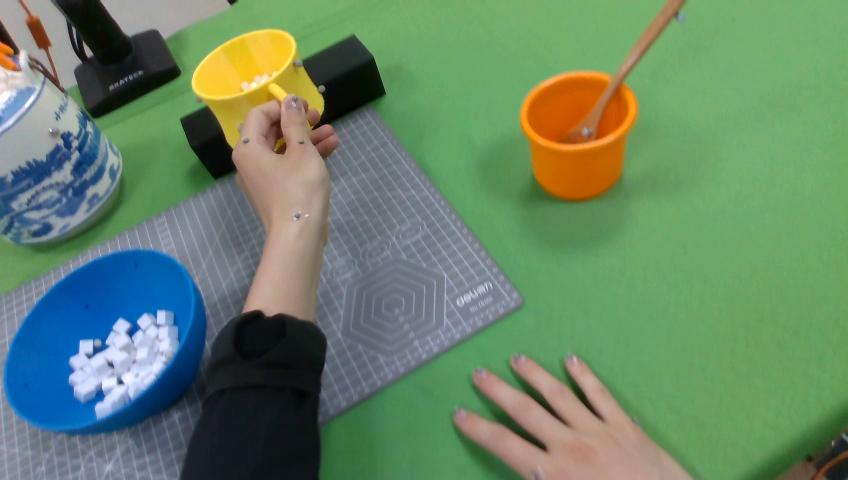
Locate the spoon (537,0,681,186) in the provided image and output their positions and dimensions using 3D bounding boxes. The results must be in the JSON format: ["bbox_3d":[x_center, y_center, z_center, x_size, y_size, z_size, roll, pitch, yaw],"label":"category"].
[{"bbox_3d":[0.153,-0.126,0.490,0.022,0.194,0.041,-1,41,-45],"label":"spoon"}]

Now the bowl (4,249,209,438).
[{"bbox_3d":[-0.229,0.090,0.474,0.151,0.077,0.150,-7,54,10],"label":"bowl"}]

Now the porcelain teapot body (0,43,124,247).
[{"bbox_3d":[-0.432,-0.091,0.567,0.205,0.228,0.143,-25,54,-3],"label":"porcelain teapot body"}]

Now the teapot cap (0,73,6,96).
[{"bbox_3d":[-0.414,-0.125,0.536,0.085,0.044,0.084,-8,55,12],"label":"teapot cap"}]

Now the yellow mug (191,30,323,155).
[{"bbox_3d":[-0.142,-0.129,0.550,0.100,0.064,0.129,-41,52,-15],"label":"yellow mug"}]
